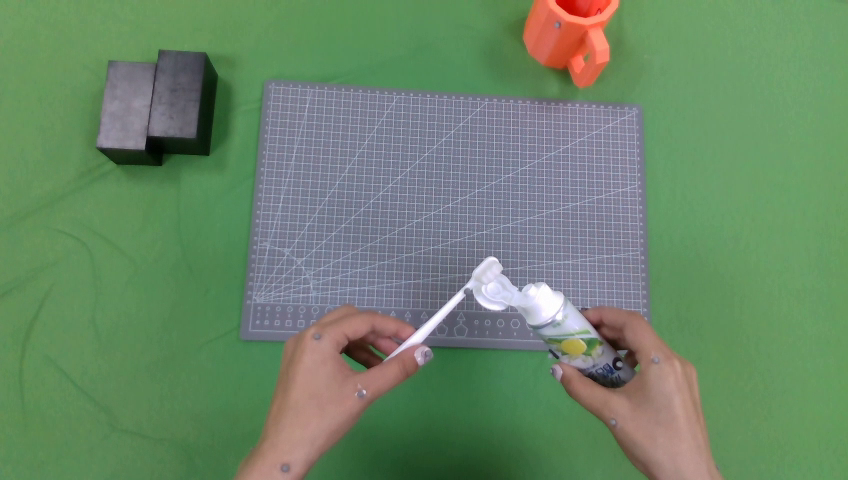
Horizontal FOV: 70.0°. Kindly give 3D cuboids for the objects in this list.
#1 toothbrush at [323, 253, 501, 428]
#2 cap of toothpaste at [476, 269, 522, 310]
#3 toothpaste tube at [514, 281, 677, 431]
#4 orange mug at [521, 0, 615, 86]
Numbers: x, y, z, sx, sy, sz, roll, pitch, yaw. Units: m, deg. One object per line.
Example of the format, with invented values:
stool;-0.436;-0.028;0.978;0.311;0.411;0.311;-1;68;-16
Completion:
toothbrush;-0.009;0.077;0.456;0.182;0.016;0.014;-44;116;-2
cap of toothpaste;0.059;0.037;0.471;0.037;0.011;0.037;5;59;-8
toothpaste tube;0.129;0.093;0.477;0.166;0.055;0.034;46;35;-16
orange mug;0.171;-0.247;0.700;0.083;0.101;0.125;-18;76;-8
